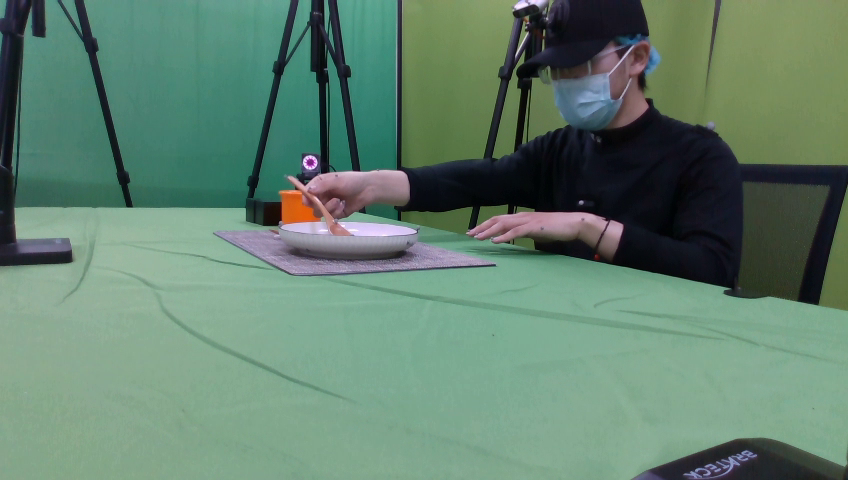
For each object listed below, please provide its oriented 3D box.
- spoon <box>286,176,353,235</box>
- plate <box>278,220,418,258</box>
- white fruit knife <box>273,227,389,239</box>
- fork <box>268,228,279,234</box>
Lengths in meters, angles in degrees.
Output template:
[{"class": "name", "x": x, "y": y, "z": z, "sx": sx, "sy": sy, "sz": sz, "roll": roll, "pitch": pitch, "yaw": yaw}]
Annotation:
[{"class": "spoon", "x": -0.170, "y": -0.053, "z": 0.980, "sx": 0.042, "sy": 0.021, "sz": 0.193, "roll": -4, "pitch": 42, "yaw": -48}, {"class": "plate", "x": -0.114, "y": -0.002, "z": 0.914, "sx": 0.209, "sy": 0.038, "sz": 0.209, "roll": 2, "pitch": 7, "yaw": 0}, {"class": "white fruit knife", "x": -0.157, "y": -0.009, "z": 1.055, "sx": 0.208, "sy": 0.016, "sz": 0.027, "roll": -3, "pitch": -23, "yaw": -22}, {"class": "fork", "x": -0.174, "y": -0.017, "z": 1.084, "sx": 0.208, "sy": 0.018, "sz": 0.028, "roll": -3, "pitch": -3, "yaw": -30}]
